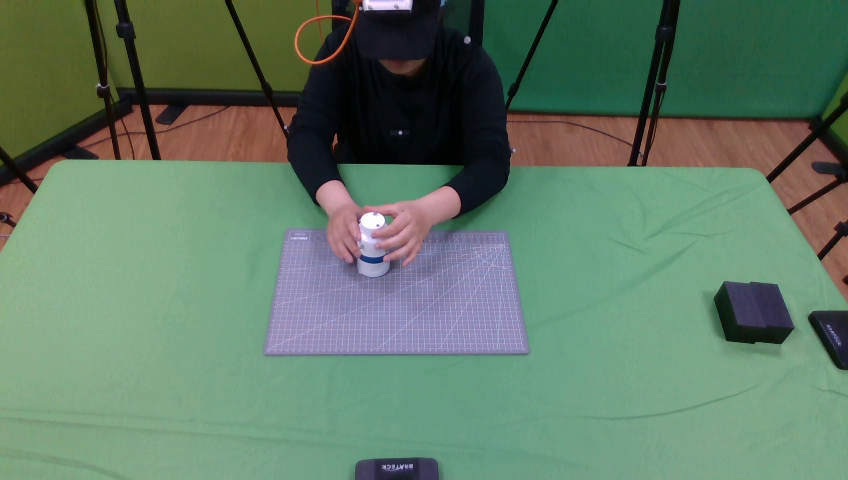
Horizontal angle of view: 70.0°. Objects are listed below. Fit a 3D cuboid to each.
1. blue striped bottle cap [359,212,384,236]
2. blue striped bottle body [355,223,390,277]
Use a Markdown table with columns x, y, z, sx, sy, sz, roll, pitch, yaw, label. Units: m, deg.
| x | y | z | sx | sy | sz | roll | pitch | yaw | label |
| --- | --- | --- | --- | --- | --- | --- | --- | --- | --- |
| -0.092 | -0.028 | 1.075 | 0.044 | 0.021 | 0.044 | 3 | 45 | -3 | blue striped bottle cap |
| -0.095 | 0.008 | 1.112 | 0.063 | 0.121 | 0.062 | 3 | 46 | -2 | blue striped bottle body |
